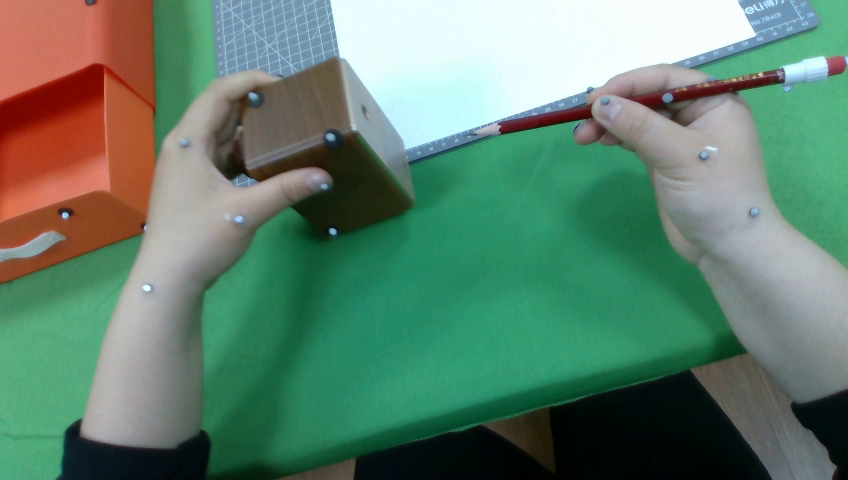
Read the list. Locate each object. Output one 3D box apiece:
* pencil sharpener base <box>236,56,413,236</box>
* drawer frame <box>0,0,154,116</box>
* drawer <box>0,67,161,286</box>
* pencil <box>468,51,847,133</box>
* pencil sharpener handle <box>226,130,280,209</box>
[{"bbox_3d":[-0.062,-0.055,0.396,0.076,0.108,0.061,-19,65,13],"label":"pencil sharpener base"},{"bbox_3d":[-0.361,-0.184,0.564,0.201,0.083,0.211,-18,65,9],"label":"drawer frame"},{"bbox_3d":[-0.333,-0.080,0.518,0.194,0.074,0.210,-19,65,9],"label":"drawer"},{"bbox_3d":[0.118,-0.076,0.327,0.194,0.012,0.012,-9,67,13],"label":"pencil"},{"bbox_3d":[-0.113,-0.041,0.396,0.030,0.068,0.035,-19,60,13],"label":"pencil sharpener handle"}]
